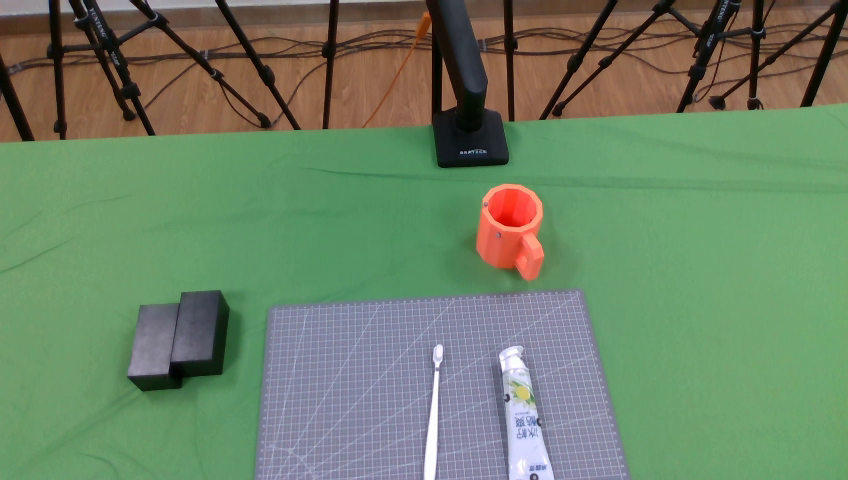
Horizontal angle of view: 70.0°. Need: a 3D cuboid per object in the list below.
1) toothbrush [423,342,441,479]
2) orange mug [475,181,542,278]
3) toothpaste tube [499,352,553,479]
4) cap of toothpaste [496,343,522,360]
[{"bbox_3d":[0.011,0.214,0.767,0.014,0.017,0.180,12,57,-11],"label":"toothbrush"},{"bbox_3d":[0.128,-0.010,0.874,0.083,0.102,0.125,-22,55,-15],"label":"orange mug"},{"bbox_3d":[0.120,0.220,0.762,0.055,0.035,0.163,-8,61,2],"label":"toothpaste tube"},{"bbox_3d":[0.113,0.149,0.800,0.037,0.037,0.011,-13,55,-11],"label":"cap of toothpaste"}]
